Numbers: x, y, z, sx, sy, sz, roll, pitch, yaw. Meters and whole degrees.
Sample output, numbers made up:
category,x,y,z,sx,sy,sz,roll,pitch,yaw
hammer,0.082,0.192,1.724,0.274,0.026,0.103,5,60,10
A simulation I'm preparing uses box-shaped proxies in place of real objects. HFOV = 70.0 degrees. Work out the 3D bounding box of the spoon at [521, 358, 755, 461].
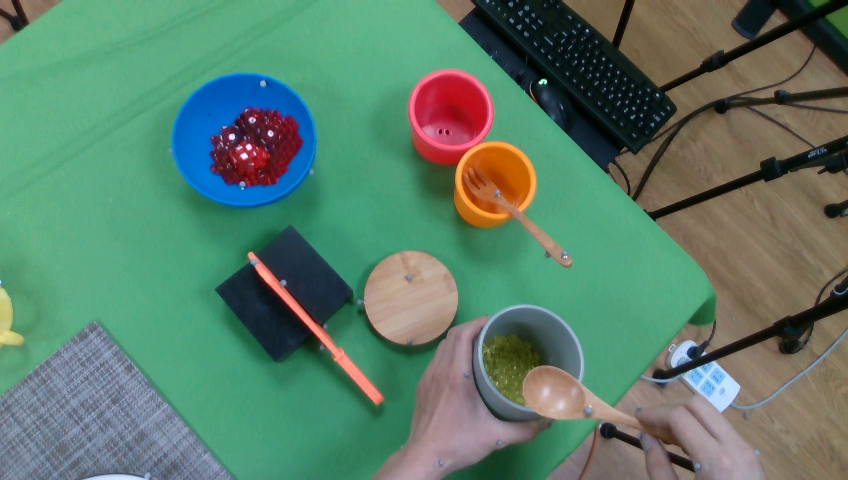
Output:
category,x,y,z,sx,sy,sz,roll,pitch,yaw
spoon,0.172,0.144,0.493,0.193,0.022,0.041,19,79,10

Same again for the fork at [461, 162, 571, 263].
category,x,y,z,sx,sy,sz,roll,pitch,yaw
fork,0.096,-0.034,0.661,0.028,0.019,0.205,-27,39,-11

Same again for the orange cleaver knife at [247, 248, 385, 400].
category,x,y,z,sx,sy,sz,roll,pitch,yaw
orange cleaver knife,-0.116,0.091,0.650,0.012,0.076,0.213,-42,109,-9

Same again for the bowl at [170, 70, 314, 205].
category,x,y,z,sx,sy,sz,roll,pitch,yaw
bowl,-0.196,-0.104,0.682,0.151,0.077,0.150,1,79,-5

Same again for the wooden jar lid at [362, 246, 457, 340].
category,x,y,z,sx,sy,sz,roll,pitch,yaw
wooden jar lid,-0.017,0.061,0.697,0.108,0.021,0.108,1,80,-5

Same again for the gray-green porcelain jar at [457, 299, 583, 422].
category,x,y,z,sx,sy,sz,roll,pitch,yaw
gray-green porcelain jar,0.093,0.131,0.631,0.106,0.127,0.105,4,65,-7

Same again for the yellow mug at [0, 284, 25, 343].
category,x,y,z,sx,sy,sz,roll,pitch,yaw
yellow mug,-0.479,0.081,0.623,0.131,0.064,0.099,18,77,-3

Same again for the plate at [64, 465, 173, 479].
category,x,y,z,sx,sy,sz,roll,pitch,yaw
plate,-0.310,0.330,0.600,0.209,0.038,0.208,1,79,-6
